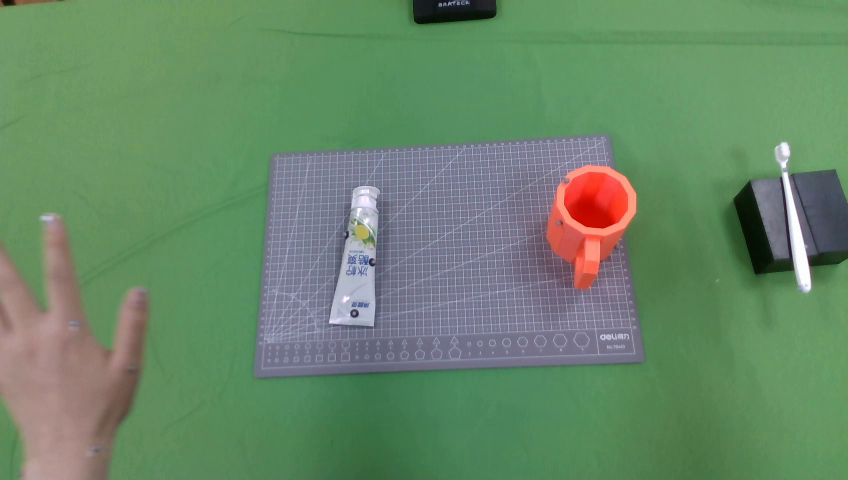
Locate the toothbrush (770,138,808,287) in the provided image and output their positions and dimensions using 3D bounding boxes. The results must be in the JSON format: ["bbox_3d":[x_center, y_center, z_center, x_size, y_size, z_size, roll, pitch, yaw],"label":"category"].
[{"bbox_3d":[0.411,-0.034,0.682,0.014,0.017,0.180,2,70,2],"label":"toothbrush"}]

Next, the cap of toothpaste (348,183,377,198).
[{"bbox_3d":[-0.078,-0.060,0.762,0.037,0.037,0.011,-6,68,2],"label":"cap of toothpaste"}]

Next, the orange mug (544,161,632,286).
[{"bbox_3d":[0.185,-0.015,0.695,0.083,0.101,0.125,5,65,6],"label":"orange mug"}]

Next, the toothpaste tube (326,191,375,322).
[{"bbox_3d":[-0.085,0.017,0.740,0.055,0.035,0.164,1,73,10],"label":"toothpaste tube"}]
